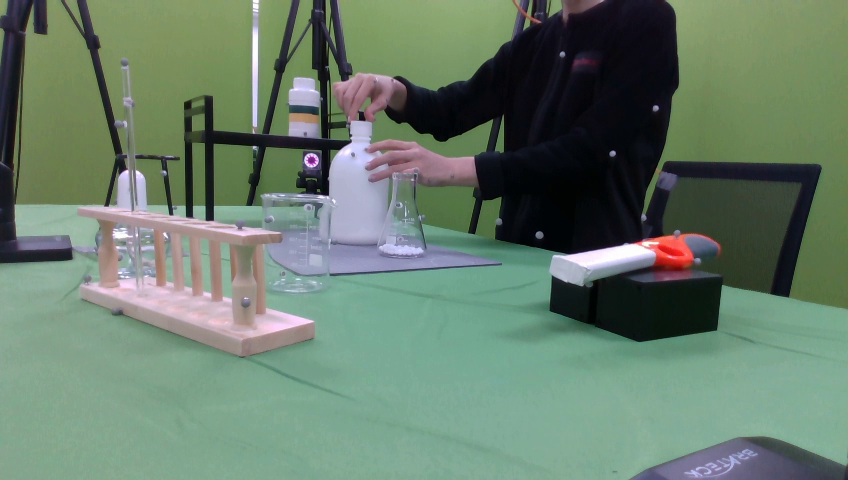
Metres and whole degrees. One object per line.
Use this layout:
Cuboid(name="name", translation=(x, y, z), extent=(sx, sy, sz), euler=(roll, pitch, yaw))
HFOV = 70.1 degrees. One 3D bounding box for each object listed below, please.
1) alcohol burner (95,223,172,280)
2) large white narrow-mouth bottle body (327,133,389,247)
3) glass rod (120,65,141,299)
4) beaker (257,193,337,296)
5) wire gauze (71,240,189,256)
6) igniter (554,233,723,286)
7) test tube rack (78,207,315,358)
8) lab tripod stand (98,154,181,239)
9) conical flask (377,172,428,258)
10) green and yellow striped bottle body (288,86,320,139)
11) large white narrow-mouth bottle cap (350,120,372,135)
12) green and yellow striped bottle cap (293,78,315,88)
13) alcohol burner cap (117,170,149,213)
Cuboid(name="alcohol burner", translation=(-0.320, -0.016, 0.667), extent=(0.078, 0.119, 0.078), euler=(0, 7, 0))
Cuboid(name="large white narrow-mouth bottle body", translation=(-0.107, -0.091, 0.996), extent=(0.102, 0.194, 0.101), euler=(3, 9, 0))
Cuboid(name="glass rod", translation=(-0.249, -0.047, 0.513), extent=(0.008, 0.199, 0.008), euler=(-1, 4, 0))
Cuboid(name="beaker", translation=(-0.130, 0.003, 0.628), extent=(0.084, 0.100, 0.074), euler=(5, 8, 15))
Cuboid(name="wire gauze", translation=(-0.399, 0.013, 0.820), extent=(0.126, 0.011, 0.121), euler=(-3, 8, -37))
Cuboid(name="igniter", translation=(0.214, 0.015, 0.570), extent=(0.278, 0.025, 0.057), euler=(-5, 22, -44))
Cuboid(name="test tube rack", translation=(-0.196, 0.023, 0.500), extent=(0.241, 0.085, 0.067), euler=(8, 9, 37))
Cuboid(name="lab tripod stand", translation=(-0.427, -0.066, 0.942), extent=(0.148, 0.131, 0.148), euler=(1, 6, 0))
Cuboid(name="conical flask", translation=(-0.029, -0.037, 0.875), extent=(0.075, 0.122, 0.075), euler=(2, 7, 0))
Cuboid(name="green and yellow striped bottle body", translation=(-0.250, -0.272, 1.261), extent=(0.063, 0.119, 0.063), euler=(3, 7, 0))
Cuboid(name="large white narrow-mouth bottle cap", translation=(-0.102, -0.182, 0.980), extent=(0.038, 0.024, 0.037), euler=(4, 9, 0))
Cuboid(name="green and yellow striped bottle cap", translation=(-0.248, -0.323, 1.256), extent=(0.045, 0.020, 0.045), euler=(4, 8, 0))
Cuboid(name="alcohol burner cap", translation=(-0.320, -0.052, 0.661), extent=(0.034, 0.048, 0.034), euler=(-3, 0, 0))
